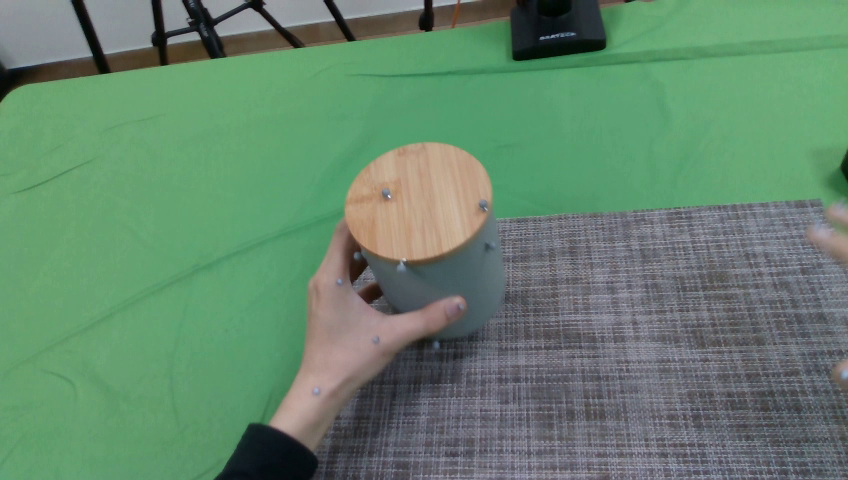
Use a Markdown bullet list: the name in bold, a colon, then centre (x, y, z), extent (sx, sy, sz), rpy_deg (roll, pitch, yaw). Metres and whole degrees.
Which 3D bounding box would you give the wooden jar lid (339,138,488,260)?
- **wooden jar lid**: centre (-0.006, -0.029, 0.440), extent (0.108, 0.021, 0.107), rpy_deg (-4, 57, 7)

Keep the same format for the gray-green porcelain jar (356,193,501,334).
- **gray-green porcelain jar**: centre (0.006, 0.008, 0.489), extent (0.106, 0.128, 0.105), rpy_deg (-6, 53, 9)
